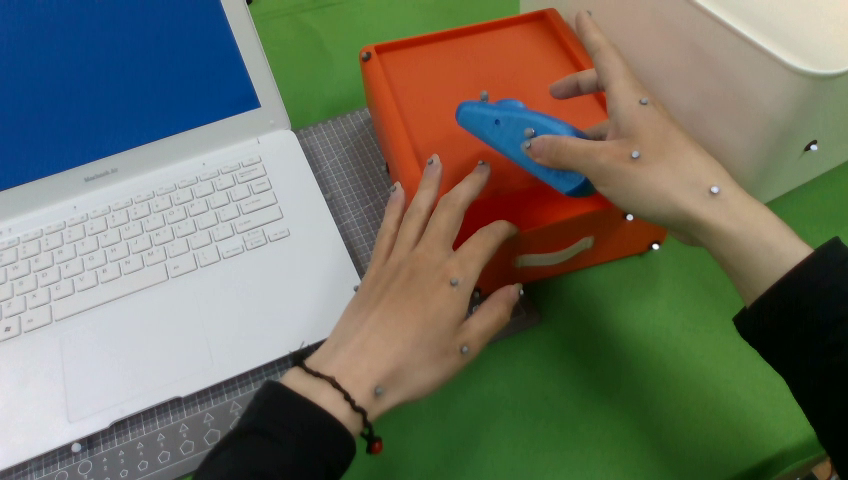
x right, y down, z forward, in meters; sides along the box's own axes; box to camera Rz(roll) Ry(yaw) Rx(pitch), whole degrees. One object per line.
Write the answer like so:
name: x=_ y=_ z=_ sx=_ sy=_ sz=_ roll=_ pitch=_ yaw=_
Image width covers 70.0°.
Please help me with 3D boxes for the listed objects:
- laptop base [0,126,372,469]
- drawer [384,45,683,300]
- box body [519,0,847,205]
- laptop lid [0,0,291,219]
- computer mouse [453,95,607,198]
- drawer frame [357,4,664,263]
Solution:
laptop base: x=-0.243 y=0.038 z=0.500 sx=0.355 sy=0.023 sz=0.233 roll=-21 pitch=58 yaw=-11
drawer: x=0.072 y=-0.071 z=0.512 sx=0.195 sy=0.074 sz=0.209 roll=-15 pitch=54 yaw=-6
box body: x=0.279 y=-0.229 z=0.564 sx=0.254 sy=0.162 sz=0.360 roll=-25 pitch=56 yaw=-14
laptop lid: x=-0.319 y=-0.148 z=0.515 sx=0.357 sy=0.243 sz=0.013 roll=-23 pitch=26 yaw=-10
computer mouse: x=0.078 y=-0.072 z=0.429 sx=0.116 sy=0.041 sz=0.063 roll=35 pitch=22 yaw=21
drawer frame: x=0.062 y=-0.100 z=0.535 sx=0.202 sy=0.083 sz=0.211 roll=-15 pitch=53 yaw=-7
